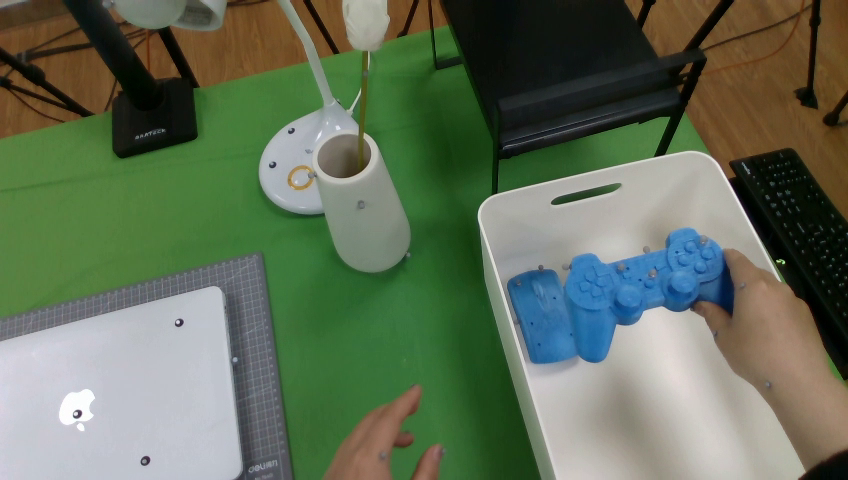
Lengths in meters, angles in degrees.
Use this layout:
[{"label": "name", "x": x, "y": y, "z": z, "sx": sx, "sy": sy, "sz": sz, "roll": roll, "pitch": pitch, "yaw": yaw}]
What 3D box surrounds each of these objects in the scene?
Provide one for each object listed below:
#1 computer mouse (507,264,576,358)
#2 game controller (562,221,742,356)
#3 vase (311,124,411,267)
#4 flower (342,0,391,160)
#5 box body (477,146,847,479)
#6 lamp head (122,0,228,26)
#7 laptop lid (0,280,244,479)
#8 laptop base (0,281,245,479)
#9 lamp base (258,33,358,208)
[{"label": "computer mouse", "x": 0.139, "y": 0.079, "z": 0.704, "sx": 0.063, "sy": 0.041, "sz": 0.116, "roll": -14, "pitch": 56, "yaw": 1}, {"label": "game controller", "x": 0.201, "y": 0.040, "z": 0.548, "sx": 0.155, "sy": 0.052, "sz": 0.096, "roll": -14, "pitch": 62, "yaw": 1}, {"label": "vase", "x": -0.073, "y": -0.047, "z": 0.700, "sx": 0.098, "sy": 0.202, "sz": 0.097, "roll": -3, "pitch": 62, "yaw": 6}, {"label": "flower", "x": -0.066, "y": -0.096, "z": 0.632, "sx": 0.038, "sy": 0.364, "sz": 0.043, "roll": -20, "pitch": 52, "yaw": -24}, {"label": "box body", "x": 0.217, "y": 0.114, "z": 0.615, "sx": 0.254, "sy": 0.162, "sz": 0.360, "roll": -13, "pitch": 63, "yaw": -1}, {"label": "lamp head", "x": -0.202, "y": -0.250, "z": 0.488, "sx": 0.112, "sy": 0.113, "sz": 0.122, "roll": 13, "pitch": 82, "yaw": 11}, {"label": "laptop lid", "x": -0.392, "y": 0.191, "z": 0.693, "sx": 0.357, "sy": 0.013, "sz": 0.239, "roll": -13, "pitch": 65, "yaw": -2}, {"label": "laptop base", "x": -0.392, "y": 0.195, "z": 0.705, "sx": 0.354, "sy": 0.023, "sz": 0.233, "roll": -15, "pitch": 66, "yaw": -3}, {"label": "lamp base", "x": -0.152, "y": -0.160, "z": 0.775, "sx": 0.160, "sy": 0.182, "sz": 0.178, "roll": 16, "pitch": 63, "yaw": 13}]
